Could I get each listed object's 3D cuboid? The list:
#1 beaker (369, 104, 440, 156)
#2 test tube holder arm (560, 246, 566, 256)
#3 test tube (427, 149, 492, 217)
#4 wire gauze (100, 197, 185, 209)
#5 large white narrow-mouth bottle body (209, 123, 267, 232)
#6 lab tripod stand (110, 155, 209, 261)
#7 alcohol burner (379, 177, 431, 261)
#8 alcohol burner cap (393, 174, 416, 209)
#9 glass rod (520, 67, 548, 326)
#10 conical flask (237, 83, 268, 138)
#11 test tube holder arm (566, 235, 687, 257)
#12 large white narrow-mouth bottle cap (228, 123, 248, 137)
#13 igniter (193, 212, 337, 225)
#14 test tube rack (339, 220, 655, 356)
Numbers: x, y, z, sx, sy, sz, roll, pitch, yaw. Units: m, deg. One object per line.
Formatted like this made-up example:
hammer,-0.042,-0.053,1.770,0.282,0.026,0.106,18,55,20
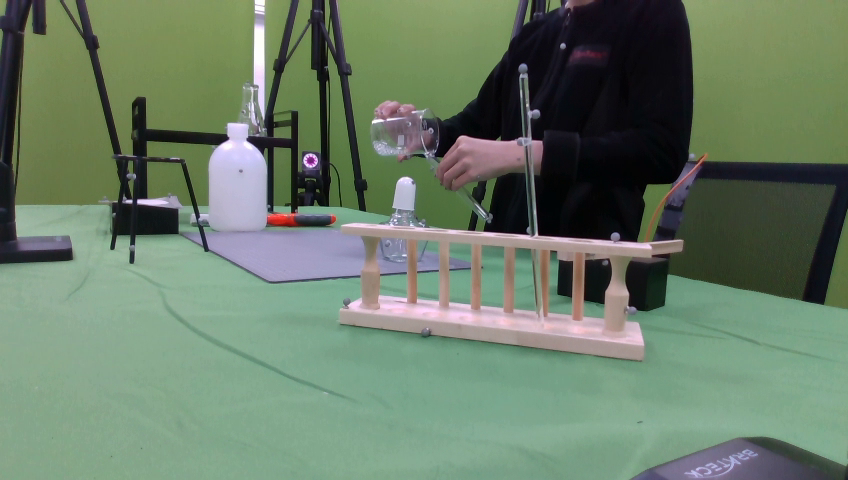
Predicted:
beaker,-0.033,-0.179,1.007,0.100,0.084,0.074,-1,5,25
test tube holder arm,0.173,0.007,0.612,0.088,0.015,0.010,-3,9,-30
test tube,0.056,-0.091,0.966,0.150,0.017,0.017,48,27,18
wire gauze,-0.469,-0.062,1.008,0.126,0.011,0.121,-2,8,-25
large white narrow-mouth bottle body,-0.340,-0.115,1.109,0.102,0.194,0.102,2,8,0
lab tripod stand,-0.361,-0.046,0.806,0.148,0.131,0.148,2,5,0
alcohol burner,-0.027,-0.031,0.838,0.078,0.119,0.078,0,6,0
alcohol burner cap,-0.025,-0.067,0.834,0.034,0.048,0.034,8,7,-1
glass rod,0.084,-0.029,0.458,0.008,0.199,0.008,-6,11,2
conical flask,-0.402,-0.299,1.406,0.075,0.122,0.075,2,7,0
test tube holder arm,0.215,0.006,0.630,0.179,0.015,0.013,-3,9,-31
large white narrow-mouth bottle cap,-0.338,-0.199,1.097,0.038,0.024,0.037,2,8,0
igniter,-0.311,-0.043,1.203,0.278,0.025,0.057,-1,-5,-25
test tube rack,0.056,0.032,0.495,0.242,0.085,0.067,4,7,15
